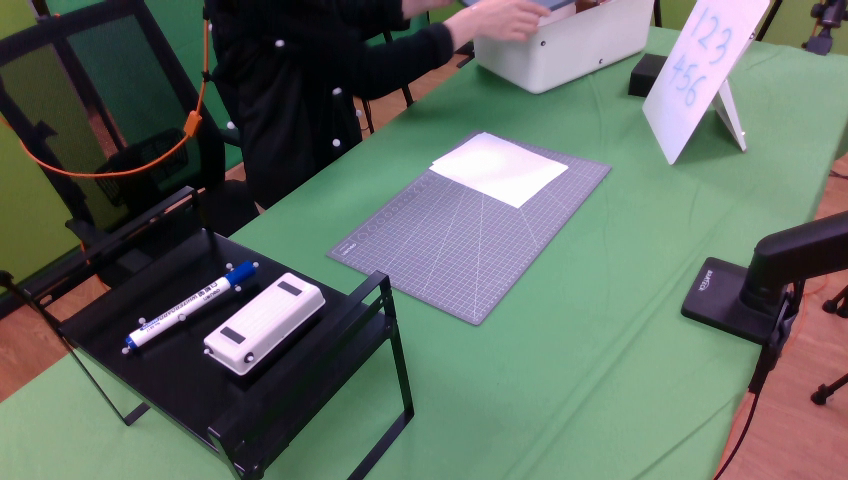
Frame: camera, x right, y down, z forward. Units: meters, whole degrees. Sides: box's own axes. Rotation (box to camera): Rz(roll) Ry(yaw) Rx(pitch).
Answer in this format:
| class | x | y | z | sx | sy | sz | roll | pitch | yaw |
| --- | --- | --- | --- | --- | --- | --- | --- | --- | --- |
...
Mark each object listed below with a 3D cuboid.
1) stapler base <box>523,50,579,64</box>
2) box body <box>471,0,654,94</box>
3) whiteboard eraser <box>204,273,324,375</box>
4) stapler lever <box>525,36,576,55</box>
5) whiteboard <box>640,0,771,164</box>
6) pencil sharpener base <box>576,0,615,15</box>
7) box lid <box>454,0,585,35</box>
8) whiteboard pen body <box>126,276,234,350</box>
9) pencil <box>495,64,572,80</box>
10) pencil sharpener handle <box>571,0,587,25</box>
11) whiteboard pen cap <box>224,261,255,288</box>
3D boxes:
| class | x | y | z | sx | sy | sz | roll | pitch | yaw |
| --- | --- | --- | --- | --- | --- | --- | --- | --- | --- |
| stapler base | 0.301 | -0.436 | 1.434 | 0.130 | 0.024 | 0.041 | 5 | 40 | 16 |
| box body | 0.319 | -0.498 | 1.405 | 0.365 | 0.161 | 0.252 | -26 | 43 | -21 |
| whiteboard eraser | -0.157 | 0.084 | 0.605 | 0.055 | 0.042 | 0.113 | 24 | 49 | 30 |
| stapler lever | 0.296 | -0.456 | 1.418 | 0.117 | 0.040 | 0.027 | 4 | 40 | 17 |
| whiteboard | 0.543 | -0.299 | 1.076 | 0.144 | 0.305 | 0.216 | 12 | 40 | -7 |
| pencil sharpener base | 0.411 | -0.535 | 1.468 | 0.061 | 0.107 | 0.076 | -31 | 44 | -26 |
| box lid | 0.249 | -0.533 | 1.216 | 0.372 | 0.015 | 0.261 | -26 | 48 | -7 |
| whiteboard pen body | -0.251 | 0.070 | 0.649 | 0.141 | 0.017 | 0.017 | -36 | 48 | -26 |
| pencil | 0.249 | -0.391 | 1.398 | 0.192 | 0.012 | 0.012 | 19 | 47 | 27 |
| pencil sharpener handle | 0.378 | -0.567 | 1.493 | 0.036 | 0.068 | 0.030 | -31 | 45 | -26 |
| whiteboard pen cap | -0.207 | 0.039 | 0.677 | 0.033 | 0.018 | 0.018 | -36 | 47 | -18 |
